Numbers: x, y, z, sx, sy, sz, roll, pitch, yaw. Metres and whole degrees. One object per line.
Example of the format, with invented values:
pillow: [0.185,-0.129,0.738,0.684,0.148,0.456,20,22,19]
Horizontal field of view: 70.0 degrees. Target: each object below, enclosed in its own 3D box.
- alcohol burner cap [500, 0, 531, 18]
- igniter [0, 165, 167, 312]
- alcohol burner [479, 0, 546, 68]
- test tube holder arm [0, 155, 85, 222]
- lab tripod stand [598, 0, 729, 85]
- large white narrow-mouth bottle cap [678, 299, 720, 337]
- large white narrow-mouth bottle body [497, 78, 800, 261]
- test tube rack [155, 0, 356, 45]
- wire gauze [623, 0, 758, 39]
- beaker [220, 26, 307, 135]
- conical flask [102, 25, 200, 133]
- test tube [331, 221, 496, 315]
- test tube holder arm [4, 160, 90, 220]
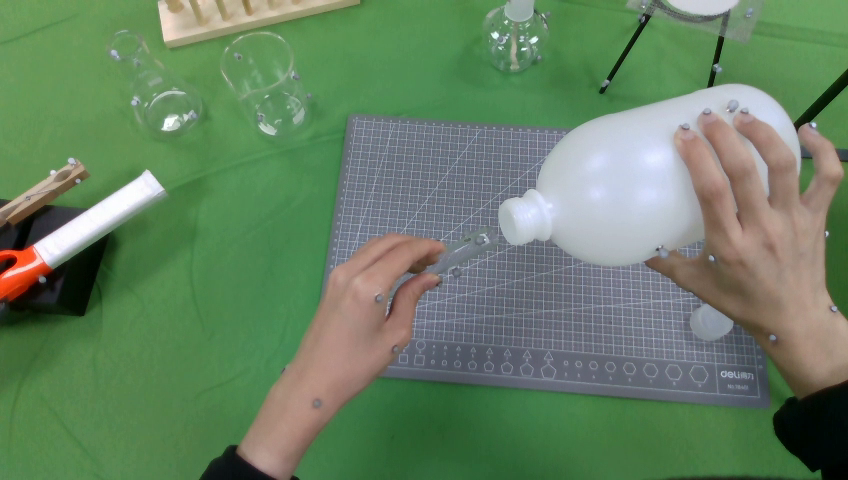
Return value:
alcohol burner cap: [0.101,-0.267,0.652,0.034,0.048,0.033,0,68,0]
igniter: [-0.377,0.018,0.580,0.276,0.025,0.057,-38,75,-16]
alcohol burner: [0.102,-0.253,0.685,0.078,0.120,0.077,1,68,-1]
test tube holder arm: [-0.418,-0.027,0.600,0.178,0.015,0.013,-38,73,-14]
lab tripod stand: [0.271,-0.239,0.668,0.148,0.132,0.147,1,68,-1]
large white narrow-mouth bottle cap: [0.276,0.078,0.607,0.038,0.024,0.037,0,70,1]
large white narrow-mouth bottle body: [0.141,-0.040,0.407,0.195,0.102,0.101,-17,69,-14]
test tube rack: [-0.209,-0.315,0.724,0.242,0.086,0.066,-16,70,-6]
wire gauze: [0.278,-0.264,0.606,0.121,0.011,0.124,25,72,8]
beaker: [-0.172,-0.166,0.661,0.074,0.101,0.083,19,71,8]
conical flask: [-0.298,-0.176,0.652,0.075,0.122,0.075,0,68,1]
test tube: [-0.013,0.024,0.438,0.150,0.017,0.017,-28,65,30]
test tube holder arm: [-0.380,-0.050,0.609,0.088,0.015,0.010,-37,73,-13]
